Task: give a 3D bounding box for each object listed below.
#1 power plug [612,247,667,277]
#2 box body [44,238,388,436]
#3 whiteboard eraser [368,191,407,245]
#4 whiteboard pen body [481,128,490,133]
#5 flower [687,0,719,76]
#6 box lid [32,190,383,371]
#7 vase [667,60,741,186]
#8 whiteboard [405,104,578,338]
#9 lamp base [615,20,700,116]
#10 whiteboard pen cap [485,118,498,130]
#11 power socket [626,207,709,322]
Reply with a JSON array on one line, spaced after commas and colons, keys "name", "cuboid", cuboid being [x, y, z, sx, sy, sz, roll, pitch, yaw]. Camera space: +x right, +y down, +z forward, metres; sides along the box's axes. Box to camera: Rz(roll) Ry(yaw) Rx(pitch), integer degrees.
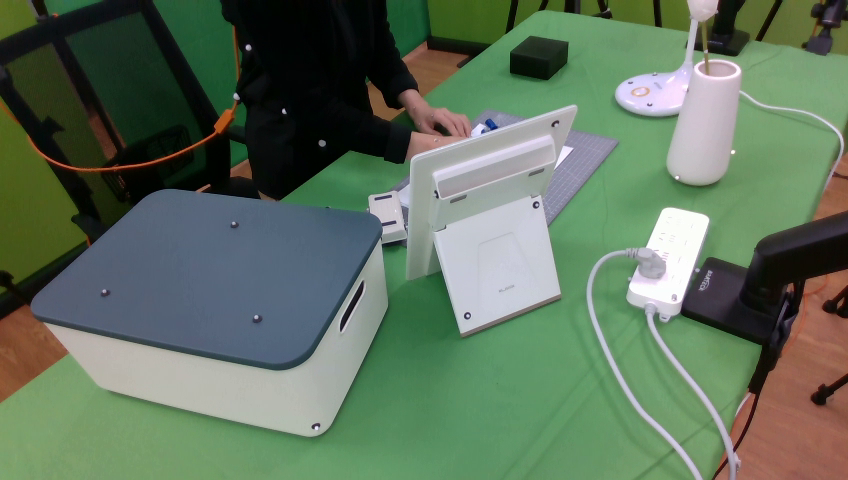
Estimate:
[{"name": "power plug", "cuboid": [0.306, 0.031, 0.852, 0.072, 0.053, 0.035, 21, 48, 37]}, {"name": "box body", "cuboid": [-0.251, 0.088, 0.799, 0.362, 0.161, 0.254, 7, 42, 16]}, {"name": "whiteboard eraser", "cuboid": [-0.061, -0.035, 1.006, 0.056, 0.042, 0.112, -9, 40, -3]}, {"name": "whiteboard pen body", "cuboid": [0.121, -0.145, 1.020, 0.017, 0.142, 0.017, -9, 63, 19]}, {"name": "flower", "cuboid": [0.436, -0.242, 0.934, 0.038, 0.364, 0.043, -24, 49, 8]}, {"name": "box lid", "cuboid": [-0.256, 0.032, 0.750, 0.370, 0.015, 0.263, 7, 42, 16]}, {"name": "vase", "cuboid": [0.463, -0.189, 0.994, 0.098, 0.201, 0.097, -4, 40, 4]}, {"name": "whiteboard", "cuboid": [0.102, 0.003, 0.787, 0.218, 0.306, 0.143, -19, 62, -14]}, {"name": "lamp base", "cuboid": [0.484, -0.364, 1.211, 0.180, 0.181, 0.159, -15, 41, -14]}, {"name": "whiteboard pen cap", "cuboid": [0.138, -0.232, 1.229, 0.018, 0.018, 0.033, -16, 43, -10]}, {"name": "power socket", "cuboid": [0.360, 0.026, 0.886, 0.072, 0.033, 0.227, 17, 46, 27]}]
